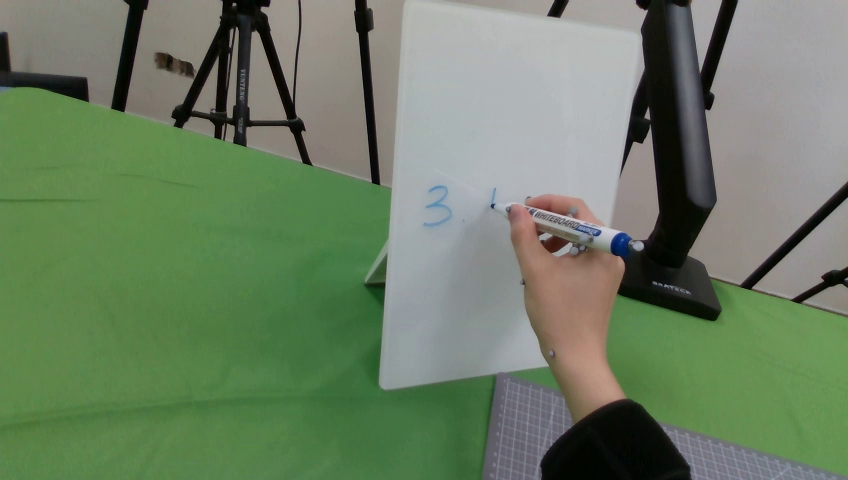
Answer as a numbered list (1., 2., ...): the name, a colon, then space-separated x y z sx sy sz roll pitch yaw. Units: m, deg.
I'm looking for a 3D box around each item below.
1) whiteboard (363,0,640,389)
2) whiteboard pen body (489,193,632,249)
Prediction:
1. whiteboard: 0.046 -0.049 0.554 0.218 0.306 0.142 -3 17 -24
2. whiteboard pen body: 0.088 -0.018 0.429 0.017 0.017 0.139 -7 18 -30
